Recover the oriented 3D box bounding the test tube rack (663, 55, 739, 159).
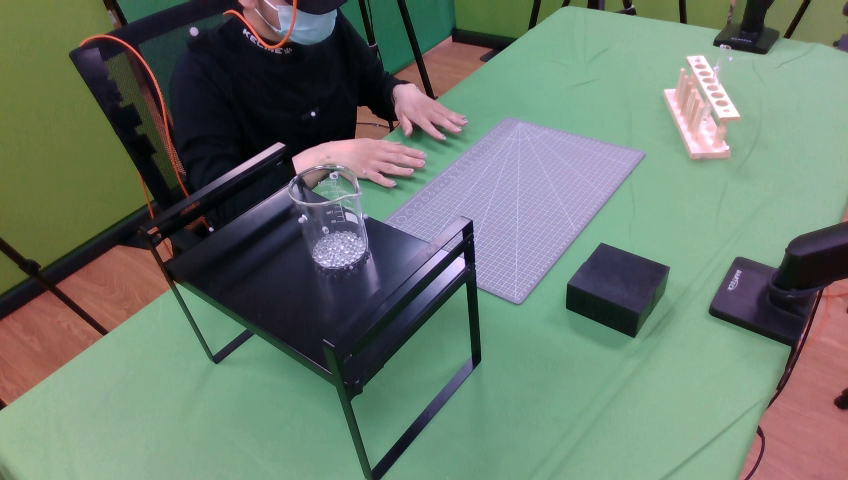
[{"bbox_3d":[0.517,-0.256,1.144,0.066,0.085,0.241,-1,41,8],"label":"test tube rack"}]

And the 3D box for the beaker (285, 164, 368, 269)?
[{"bbox_3d":[-0.102,-0.024,0.676,0.083,0.101,0.074,8,43,17],"label":"beaker"}]

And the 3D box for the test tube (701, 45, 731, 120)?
[{"bbox_3d":[0.527,-0.281,1.095,0.017,0.151,0.017,-3,46,3],"label":"test tube"}]
